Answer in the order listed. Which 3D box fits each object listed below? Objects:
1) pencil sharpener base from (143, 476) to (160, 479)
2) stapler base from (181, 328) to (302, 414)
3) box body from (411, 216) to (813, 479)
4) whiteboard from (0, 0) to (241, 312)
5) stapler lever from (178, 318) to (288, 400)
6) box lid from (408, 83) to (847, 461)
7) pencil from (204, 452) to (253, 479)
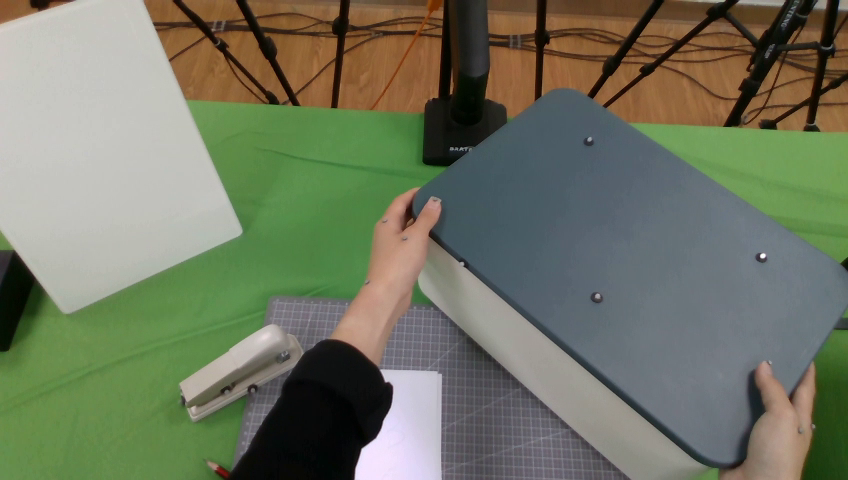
[{"bbox_3d":[-0.246,0.255,0.518,0.077,0.108,0.061,-19,60,-14],"label":"pencil sharpener base"},{"bbox_3d":[-0.195,0.134,0.646,0.130,0.024,0.041,-29,58,-16],"label":"stapler base"},{"bbox_3d":[0.190,0.039,0.646,0.361,0.161,0.254,40,63,21],"label":"box body"},{"bbox_3d":[-0.375,-0.114,0.669,0.217,0.308,0.142,-27,43,-18],"label":"whiteboard"},{"bbox_3d":[-0.197,0.121,0.625,0.118,0.040,0.026,-28,58,-16],"label":"stapler lever"},{"bbox_3d":[0.191,-0.003,0.585,0.369,0.015,0.263,40,63,20],"label":"box lid"},{"bbox_3d":[-0.136,0.253,0.581,0.193,0.012,0.012,26,59,15],"label":"pencil"}]
